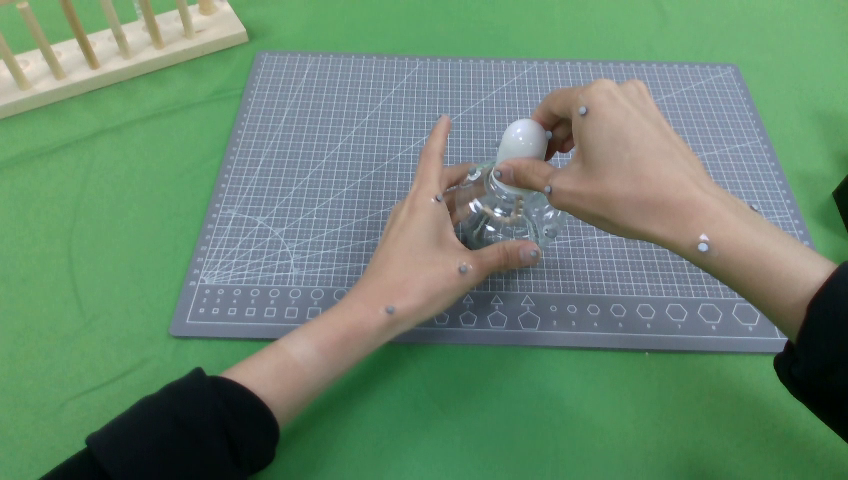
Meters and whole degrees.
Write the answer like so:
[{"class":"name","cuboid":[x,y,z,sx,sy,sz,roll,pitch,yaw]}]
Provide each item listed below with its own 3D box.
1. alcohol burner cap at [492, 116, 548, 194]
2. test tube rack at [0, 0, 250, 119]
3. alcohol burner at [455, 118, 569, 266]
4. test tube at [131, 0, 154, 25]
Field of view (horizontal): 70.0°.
[{"class":"alcohol burner cap","cuboid":[0.060,-0.055,0.374,0.034,0.048,0.033,0,52,0]},{"class":"test tube rack","cuboid":[-0.288,-0.191,0.528,0.242,0.086,0.066,-24,58,-17]},{"class":"alcohol burner","cuboid":[0.060,-0.036,0.399,0.078,0.120,0.077,1,54,-1]},{"class":"test tube","cuboid":[-0.259,-0.255,0.510,0.017,0.151,0.017,-2,45,2]}]
